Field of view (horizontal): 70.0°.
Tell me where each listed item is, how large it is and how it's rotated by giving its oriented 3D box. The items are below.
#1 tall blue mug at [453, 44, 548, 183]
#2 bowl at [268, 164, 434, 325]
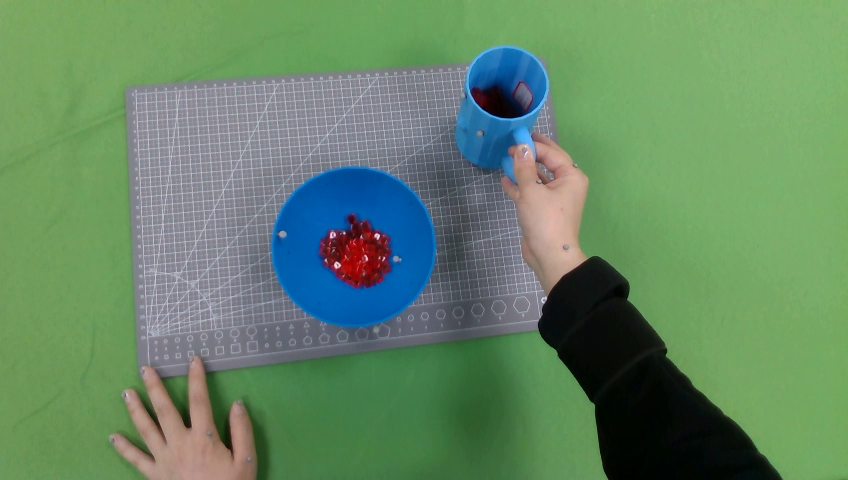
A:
[{"bbox_3d":[0.083,-0.119,0.597,0.107,0.108,0.077,41,76,8],"label":"tall blue mug"},{"bbox_3d":[-0.068,0.009,0.586,0.151,0.077,0.151,1,80,-6],"label":"bowl"}]
